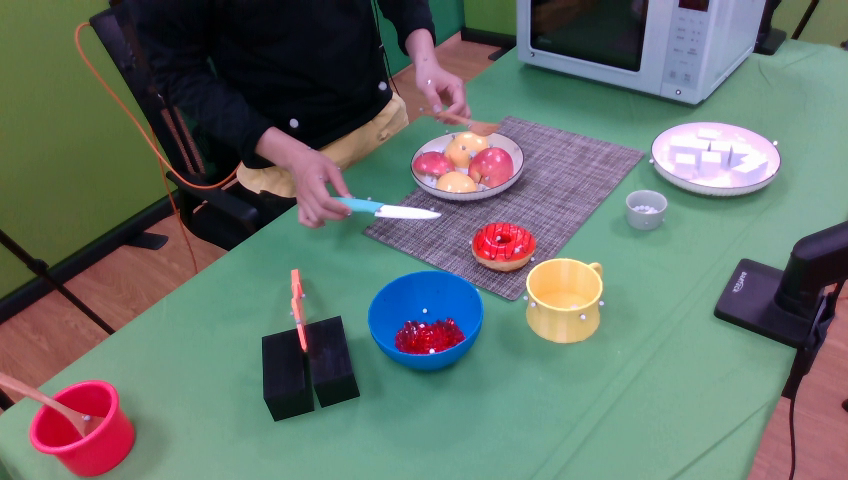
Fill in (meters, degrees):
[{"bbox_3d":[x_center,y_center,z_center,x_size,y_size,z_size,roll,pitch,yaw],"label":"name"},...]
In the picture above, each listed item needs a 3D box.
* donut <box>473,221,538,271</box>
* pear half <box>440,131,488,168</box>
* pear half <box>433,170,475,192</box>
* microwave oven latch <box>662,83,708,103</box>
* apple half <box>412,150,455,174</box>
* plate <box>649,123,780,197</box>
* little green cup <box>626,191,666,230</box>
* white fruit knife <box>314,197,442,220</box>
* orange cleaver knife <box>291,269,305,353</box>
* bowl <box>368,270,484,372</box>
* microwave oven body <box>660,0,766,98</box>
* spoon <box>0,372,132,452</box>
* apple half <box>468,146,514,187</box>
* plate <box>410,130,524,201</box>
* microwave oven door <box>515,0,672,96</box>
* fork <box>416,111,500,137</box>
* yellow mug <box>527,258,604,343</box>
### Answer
[{"bbox_3d":[0.123,0.008,0.923,0.099,0.048,0.098,-4,38,3],"label":"donut"},{"bbox_3d":[0.064,-0.174,1.129,0.110,0.056,0.076,-7,36,5],"label":"pear half"},{"bbox_3d":[0.052,-0.105,1.052,0.071,0.031,0.087,-5,33,-30],"label":"pear half"},{"bbox_3d":[0.518,-0.296,1.204,0.078,0.029,0.030,28,52,35],"label":"microwave oven latch"},{"bbox_3d":[0.022,-0.144,1.097,0.081,0.033,0.081,7,21,-2],"label":"apple half"},{"bbox_3d":[0.497,-0.135,1.046,0.207,0.039,0.206,-4,40,4],"label":"plate"},{"bbox_3d":[0.352,-0.046,0.963,0.061,0.039,0.061,-4,40,4],"label":"little green cup"},{"bbox_3d":[-0.071,-0.046,0.914,0.206,0.016,0.027,7,59,18],"label":"white fruit knife"},{"bbox_3d":[-0.175,0.094,0.844,0.012,0.077,0.210,-11,15,-10],"label":"orange cleaver knife"},{"bbox_3d":[0.006,0.118,0.792,0.151,0.077,0.150,-5,40,4],"label":"bowl"},{"bbox_3d":[0.472,-0.513,1.317,0.438,0.261,0.327,26,51,34],"label":"microwave oven body"},{"bbox_3d":[-0.439,0.195,0.715,0.195,0.021,0.041,37,40,-16],"label":"spoon"},{"bbox_3d":[0.119,-0.137,1.073,0.080,0.053,0.075,25,49,38],"label":"apple half"},{"bbox_3d":[0.079,-0.132,1.101,0.209,0.038,0.208,-4,40,4],"label":"plate"},{"bbox_3d":[0.343,-0.454,1.259,0.353,0.245,0.039,26,51,33],"label":"microwave oven door"},{"bbox_3d":[0.047,-0.190,0.979,0.028,0.018,0.205,12,13,-40],"label":"fork"},{"bbox_3d":[0.201,0.073,0.824,0.131,0.064,0.099,-32,46,-27],"label":"yellow mug"}]
